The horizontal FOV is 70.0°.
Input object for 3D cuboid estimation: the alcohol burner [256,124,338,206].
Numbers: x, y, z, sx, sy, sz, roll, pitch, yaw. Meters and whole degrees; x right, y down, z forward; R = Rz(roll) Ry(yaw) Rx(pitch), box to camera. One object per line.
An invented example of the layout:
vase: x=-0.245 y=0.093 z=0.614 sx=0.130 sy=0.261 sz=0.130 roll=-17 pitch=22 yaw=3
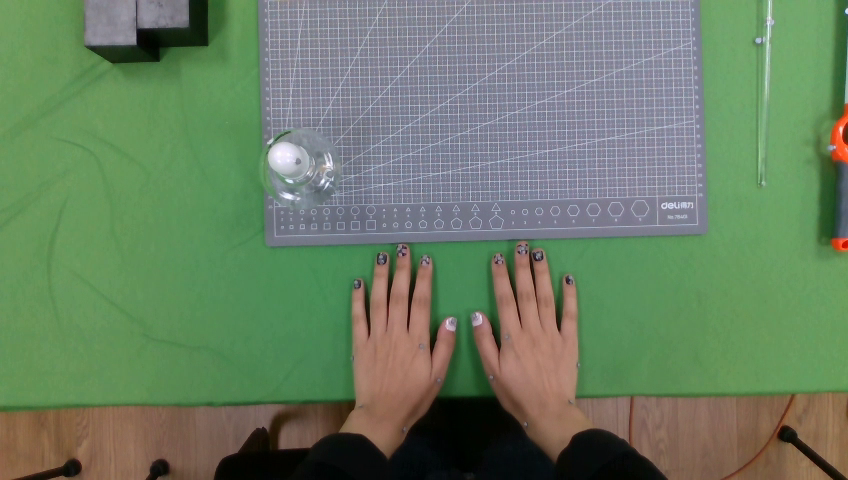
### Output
alcohol burner: x=-0.122 y=-0.072 z=0.562 sx=0.078 sy=0.119 sz=0.078 roll=0 pitch=88 yaw=2

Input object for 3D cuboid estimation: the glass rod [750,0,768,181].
glass rod: x=0.343 y=-0.160 z=0.620 sx=0.008 sy=0.008 sz=0.199 roll=2 pitch=92 yaw=0

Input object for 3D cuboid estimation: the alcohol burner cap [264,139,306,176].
alcohol burner cap: x=-0.122 y=-0.073 z=0.526 sx=0.034 sy=0.048 sz=0.034 roll=0 pitch=93 yaw=-4

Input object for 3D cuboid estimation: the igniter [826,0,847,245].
igniter: x=0.435 y=-0.132 z=0.611 sx=0.057 sy=0.025 sz=0.276 roll=4 pitch=90 yaw=-11
